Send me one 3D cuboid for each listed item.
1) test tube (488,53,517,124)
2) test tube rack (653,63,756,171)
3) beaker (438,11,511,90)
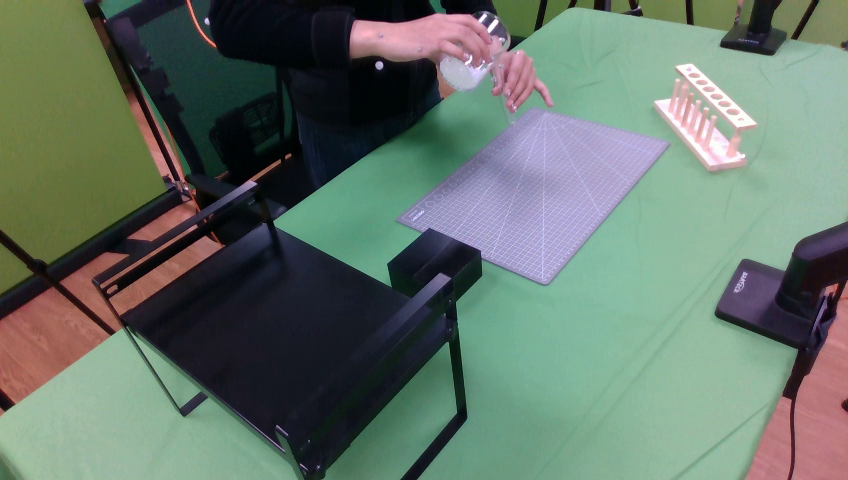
[{"bbox_3d":[0.132,-0.248,1.009,0.017,0.151,0.017,-11,53,16],"label":"test tube"},{"bbox_3d":[0.510,-0.233,1.120,0.067,0.085,0.241,-9,41,-1],"label":"test tube rack"},{"bbox_3d":[0.074,-0.278,0.903,0.073,0.084,0.100,23,63,28],"label":"beaker"}]
